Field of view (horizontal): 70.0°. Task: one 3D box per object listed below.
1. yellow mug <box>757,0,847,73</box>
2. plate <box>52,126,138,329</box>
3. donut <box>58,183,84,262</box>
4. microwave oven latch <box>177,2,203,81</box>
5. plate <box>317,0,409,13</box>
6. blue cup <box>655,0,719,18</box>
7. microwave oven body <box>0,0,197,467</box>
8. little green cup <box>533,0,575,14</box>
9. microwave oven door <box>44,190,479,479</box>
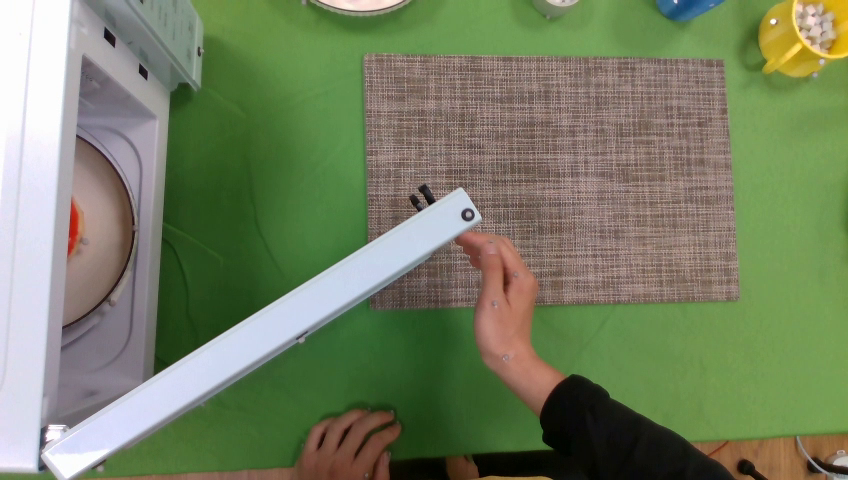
[{"bbox_3d":[0.465,-0.255,0.743,0.131,0.064,0.100,-43,91,-6],"label":"yellow mug"},{"bbox_3d":[-0.385,-0.013,0.590,0.209,0.038,0.208,1,86,-7],"label":"plate"},{"bbox_3d":[-0.381,-0.018,0.581,0.099,0.048,0.099,0,88,-4],"label":"donut"},{"bbox_3d":[-0.260,-0.218,0.662,0.030,0.029,0.079,4,86,-6],"label":"microwave oven latch"},{"bbox_3d":[-0.075,-0.362,0.710,0.208,0.039,0.207,0,86,-6],"label":"plate"},{"bbox_3d":[0.322,-0.312,0.715,0.093,0.100,0.092,0,87,-6],"label":"blue cup"},{"bbox_3d":[-0.403,-0.055,0.540,0.326,0.260,0.441,2,86,-6],"label":"microwave oven body"},{"bbox_3d":[0.159,-0.306,0.730,0.061,0.038,0.061,1,85,-5],"label":"little green cup"},{"bbox_3d":[-0.122,0.072,0.554,0.356,0.244,0.039,-33,88,-7],"label":"microwave oven door"}]
